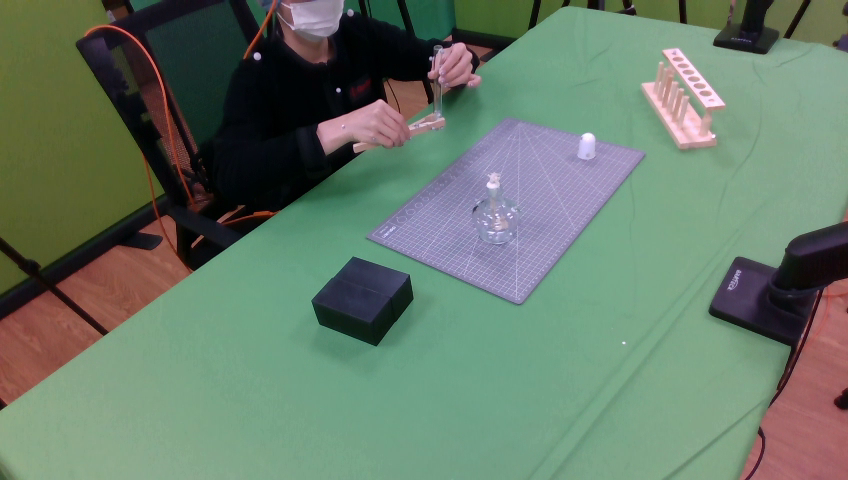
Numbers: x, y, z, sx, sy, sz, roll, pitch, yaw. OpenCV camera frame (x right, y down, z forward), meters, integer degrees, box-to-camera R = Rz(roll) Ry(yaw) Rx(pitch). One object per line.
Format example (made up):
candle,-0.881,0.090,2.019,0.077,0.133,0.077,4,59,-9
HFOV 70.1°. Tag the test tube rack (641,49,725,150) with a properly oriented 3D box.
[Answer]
test tube rack,0.495,-0.279,1.175,0.067,0.085,0.241,-5,41,3

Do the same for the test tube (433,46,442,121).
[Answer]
test tube,0.024,-0.267,1.061,0.017,0.151,0.017,0,40,1

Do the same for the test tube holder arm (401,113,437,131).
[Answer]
test tube holder arm,-0.009,-0.206,1.085,0.010,0.015,0.088,28,48,33

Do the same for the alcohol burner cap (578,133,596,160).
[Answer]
alcohol burner cap,0.301,-0.174,1.111,0.034,0.048,0.033,-5,40,4

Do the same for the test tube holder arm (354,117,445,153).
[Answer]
test tube holder arm,-0.041,-0.185,1.062,0.179,0.015,0.013,-23,41,-22

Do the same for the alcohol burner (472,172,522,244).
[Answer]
alcohol burner,0.112,-0.053,0.942,0.078,0.119,0.077,-6,40,6
